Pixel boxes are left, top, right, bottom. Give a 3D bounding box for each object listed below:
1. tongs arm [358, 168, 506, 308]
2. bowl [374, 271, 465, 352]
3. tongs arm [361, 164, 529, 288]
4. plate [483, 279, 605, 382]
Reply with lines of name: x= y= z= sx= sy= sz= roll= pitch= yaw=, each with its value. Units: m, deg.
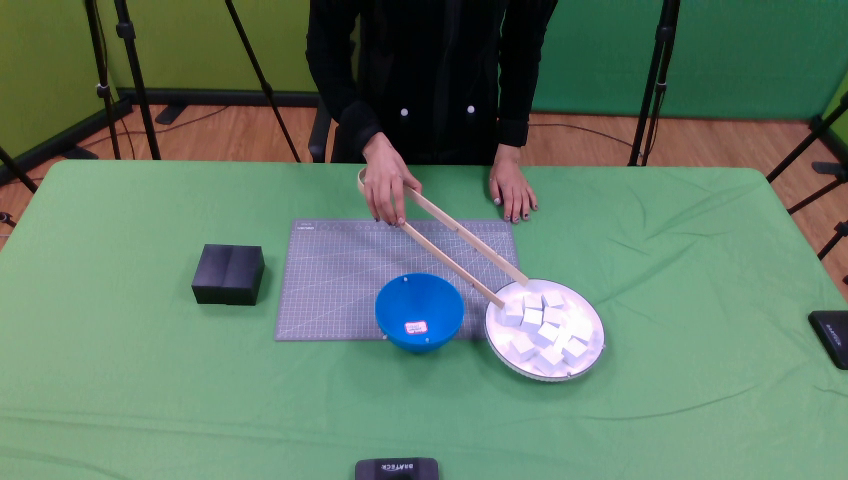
tongs arm: x=0.002 y=-0.008 z=1.095 sx=0.028 sy=0.028 sz=0.386 roll=-39 pitch=66 yaw=-25
bowl: x=-0.009 y=0.136 z=1.024 sx=0.151 sy=0.077 sz=0.150 roll=2 pitch=47 yaw=-2
tongs arm: x=0.029 y=-0.029 z=1.114 sx=0.383 sy=0.026 sz=0.051 roll=41 pitch=60 yaw=22
plate: x=0.204 y=0.158 z=1.046 sx=0.208 sy=0.039 sz=0.206 roll=3 pitch=47 yaw=-3
